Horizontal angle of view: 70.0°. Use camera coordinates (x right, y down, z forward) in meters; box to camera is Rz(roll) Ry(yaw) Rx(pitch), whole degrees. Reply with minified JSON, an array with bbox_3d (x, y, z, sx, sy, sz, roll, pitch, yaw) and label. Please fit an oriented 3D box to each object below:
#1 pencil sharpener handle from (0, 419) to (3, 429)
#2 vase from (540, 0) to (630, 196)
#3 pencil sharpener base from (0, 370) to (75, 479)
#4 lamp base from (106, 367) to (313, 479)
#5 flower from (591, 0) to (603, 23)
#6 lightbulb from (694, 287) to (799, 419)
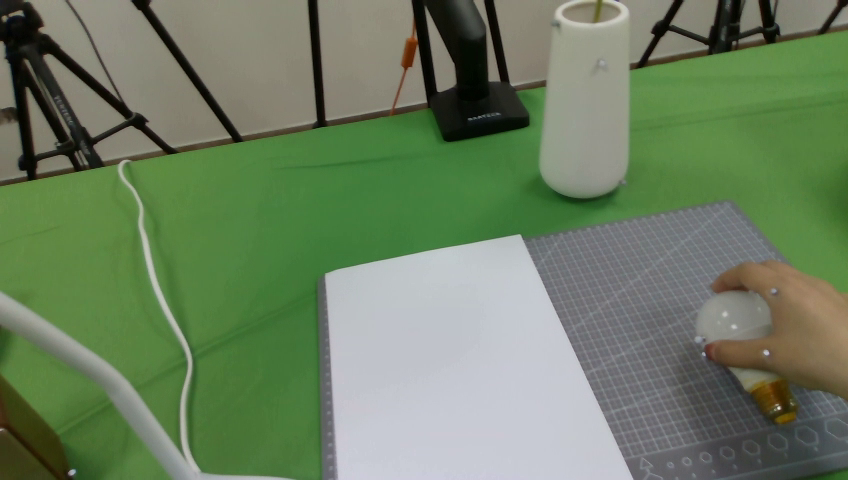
[{"bbox_3d":[-0.353,0.123,0.475,0.036,0.068,0.030,-26,43,-27],"label":"pencil sharpener handle"},{"bbox_3d":[0.172,-0.146,0.644,0.098,0.202,0.097,-6,40,5],"label":"vase"},{"bbox_3d":[-0.320,0.156,0.451,0.061,0.108,0.076,-31,45,-23],"label":"pencil sharpener base"},{"bbox_3d":[-0.130,0.165,0.351,0.160,0.182,0.177,-34,43,-26],"label":"lamp base"},{"bbox_3d":[0.160,-0.193,0.574,0.044,0.365,0.038,28,65,18],"label":"flower"},{"bbox_3d":[0.255,0.087,0.473,0.059,0.060,0.106,-14,58,-6],"label":"lightbulb"}]
